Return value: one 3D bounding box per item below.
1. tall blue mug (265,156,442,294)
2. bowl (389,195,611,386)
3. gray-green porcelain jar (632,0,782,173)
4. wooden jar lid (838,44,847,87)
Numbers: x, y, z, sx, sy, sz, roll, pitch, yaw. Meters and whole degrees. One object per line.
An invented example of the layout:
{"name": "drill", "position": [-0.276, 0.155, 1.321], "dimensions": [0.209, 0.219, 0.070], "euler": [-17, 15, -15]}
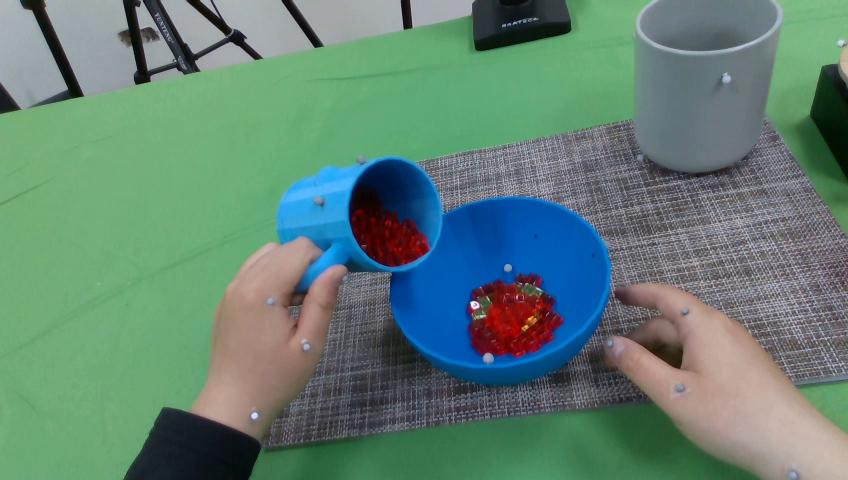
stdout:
{"name": "tall blue mug", "position": [-0.055, 0.000, 0.430], "dimensions": [0.107, 0.078, 0.106], "euler": [-4, 62, 54]}
{"name": "bowl", "position": [0.057, 0.047, 0.433], "dimensions": [0.151, 0.077, 0.150], "euler": [-9, 45, 10]}
{"name": "gray-green porcelain jar", "position": [0.231, -0.128, 0.510], "dimensions": [0.106, 0.128, 0.105], "euler": [-9, 46, 10]}
{"name": "wooden jar lid", "position": [0.385, -0.132, 0.473], "dimensions": [0.108, 0.021, 0.107], "euler": [-10, 45, 10]}
